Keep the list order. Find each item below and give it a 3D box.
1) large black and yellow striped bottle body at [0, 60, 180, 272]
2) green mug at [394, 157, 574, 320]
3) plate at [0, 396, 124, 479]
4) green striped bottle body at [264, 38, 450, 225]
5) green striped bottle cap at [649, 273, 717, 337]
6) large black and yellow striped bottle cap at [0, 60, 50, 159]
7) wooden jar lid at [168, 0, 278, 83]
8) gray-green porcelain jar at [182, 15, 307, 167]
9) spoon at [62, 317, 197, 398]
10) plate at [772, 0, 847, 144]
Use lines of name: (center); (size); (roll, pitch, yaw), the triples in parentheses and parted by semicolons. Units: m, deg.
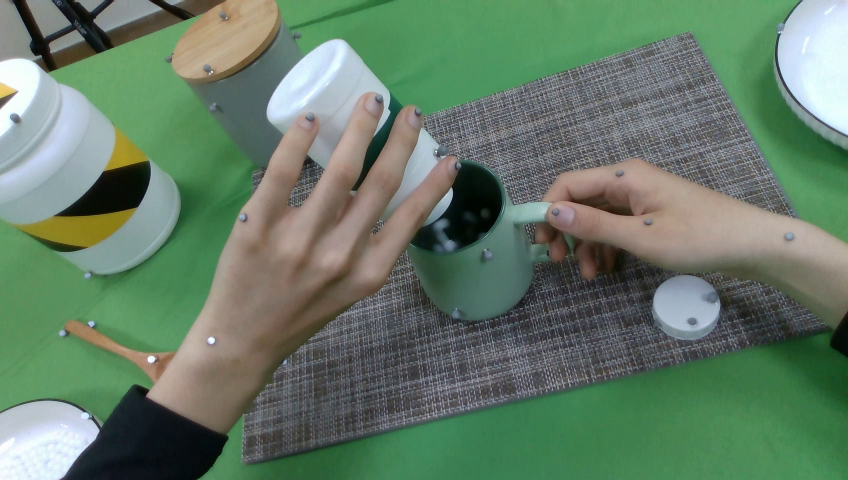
large black and yellow striped bottle body: (-0.341, -0.064, 0.573); (0.130, 0.186, 0.129); (-8, 58, 14)
green mug: (0.047, -0.001, 0.448); (0.125, 0.106, 0.091); (-8, 57, 14)
plate: (-0.326, 0.230, 0.481); (0.209, 0.038, 0.207); (-8, 58, 14)
green striped bottle body: (-0.033, -0.059, 0.373); (0.063, 0.120, 0.062); (-28, 40, 26)
green striped bottle cap: (0.183, 0.045, 0.430); (0.044, 0.020, 0.044); (-9, 52, 12)
large black and yellow striped bottle cap: (-0.366, -0.104, 0.504); (0.115, 0.019, 0.114); (-8, 57, 13)
wooden jar lid: (-0.177, -0.178, 0.542); (0.108, 0.021, 0.107); (-11, 56, 17)
gray-green porcelain jar: (-0.159, -0.142, 0.592); (0.105, 0.128, 0.105); (-9, 54, 13)
spoon: (-0.273, 0.098, 0.552); (0.192, 0.022, 0.041); (14, 85, 25)
plate: (0.381, -0.140, 0.463); (0.207, 0.039, 0.205); (-9, 58, 14)
